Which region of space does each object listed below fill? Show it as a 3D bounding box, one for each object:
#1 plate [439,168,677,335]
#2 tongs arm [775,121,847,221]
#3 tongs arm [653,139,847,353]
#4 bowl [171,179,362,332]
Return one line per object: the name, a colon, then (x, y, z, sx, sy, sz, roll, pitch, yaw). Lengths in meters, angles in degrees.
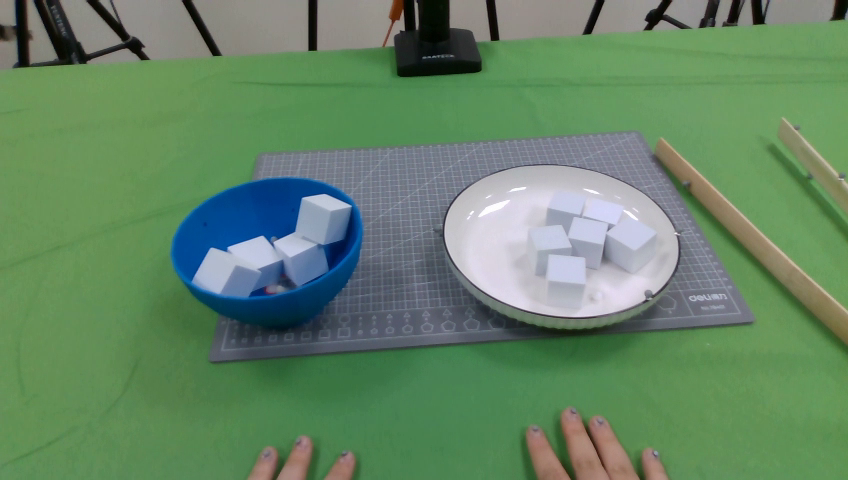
plate: (0.117, 0.009, 0.549, 0.208, 0.039, 0.205, -1, 42, 1)
tongs arm: (0.397, 0.004, 0.550, 0.051, 0.027, 0.380, -5, 43, -2)
tongs arm: (0.319, 0.017, 0.544, 0.028, 0.028, 0.383, -11, 43, -13)
bowl: (-0.124, 0.024, 0.510, 0.151, 0.077, 0.150, -1, 42, 1)
